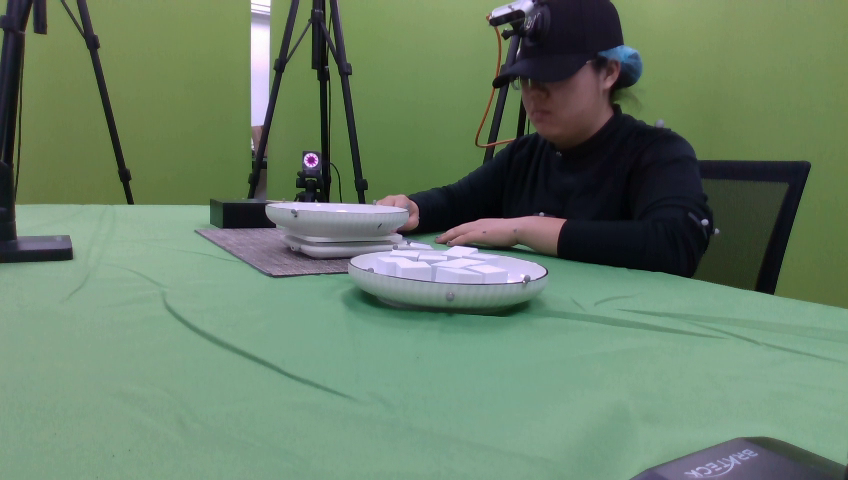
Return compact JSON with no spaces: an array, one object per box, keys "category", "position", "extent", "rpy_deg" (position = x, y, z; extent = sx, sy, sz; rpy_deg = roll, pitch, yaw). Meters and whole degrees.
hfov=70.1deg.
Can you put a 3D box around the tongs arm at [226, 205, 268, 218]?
[{"category":"tongs arm","position":[-0.247,-0.062,1.381],"extent":[0.389,0.028,0.028],"rpy_deg":[0,5,-21]}]

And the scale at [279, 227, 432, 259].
[{"category":"scale","position":[-0.100,0.002,0.899],"extent":[0.202,0.031,0.148],"rpy_deg":[-1,8,-31]}]

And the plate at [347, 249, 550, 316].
[{"category":"plate","position":[0.025,0.042,0.627],"extent":[0.209,0.038,0.209],"rpy_deg":[2,7,0]}]

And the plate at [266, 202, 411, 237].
[{"category":"plate","position":[-0.123,-0.030,0.879],"extent":[0.208,0.039,0.207],"rpy_deg":[2,6,0]}]

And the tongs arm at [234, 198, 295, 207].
[{"category":"tongs arm","position":[-0.263,-0.076,1.460],"extent":[0.386,0.026,0.050],"rpy_deg":[3,8,-8]}]
